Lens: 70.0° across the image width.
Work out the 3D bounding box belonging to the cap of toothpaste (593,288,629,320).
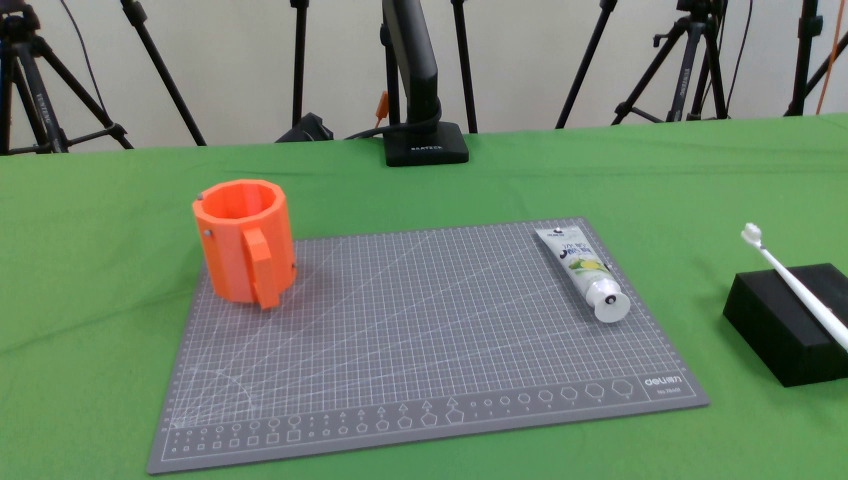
[{"bbox_3d":[0.177,0.060,0.576,0.037,0.037,0.011,-6,32,-8],"label":"cap of toothpaste"}]

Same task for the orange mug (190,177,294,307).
[{"bbox_3d":[-0.174,0.006,0.601,0.084,0.101,0.125,-16,34,-22],"label":"orange mug"}]

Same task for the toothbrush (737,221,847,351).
[{"bbox_3d":[0.336,0.036,0.551,0.014,0.017,0.180,1,35,-7],"label":"toothbrush"}]

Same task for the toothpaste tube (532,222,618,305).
[{"bbox_3d":[0.167,0.021,0.643,0.055,0.035,0.163,0,30,-11],"label":"toothpaste tube"}]
